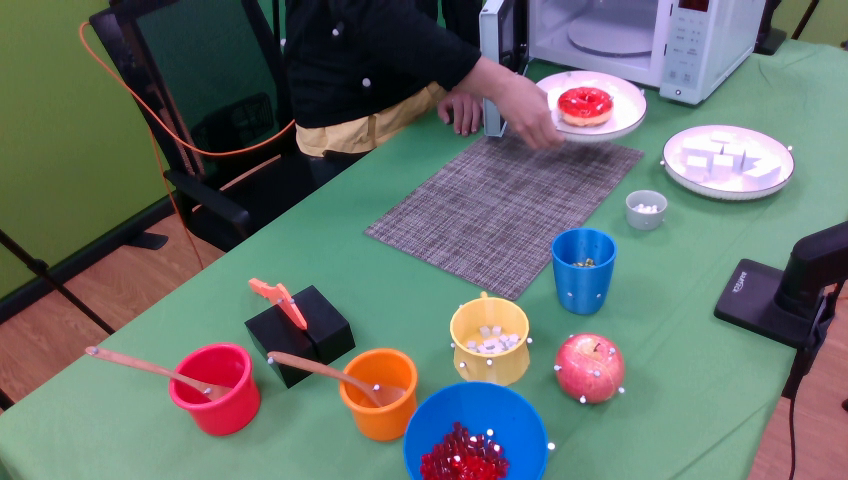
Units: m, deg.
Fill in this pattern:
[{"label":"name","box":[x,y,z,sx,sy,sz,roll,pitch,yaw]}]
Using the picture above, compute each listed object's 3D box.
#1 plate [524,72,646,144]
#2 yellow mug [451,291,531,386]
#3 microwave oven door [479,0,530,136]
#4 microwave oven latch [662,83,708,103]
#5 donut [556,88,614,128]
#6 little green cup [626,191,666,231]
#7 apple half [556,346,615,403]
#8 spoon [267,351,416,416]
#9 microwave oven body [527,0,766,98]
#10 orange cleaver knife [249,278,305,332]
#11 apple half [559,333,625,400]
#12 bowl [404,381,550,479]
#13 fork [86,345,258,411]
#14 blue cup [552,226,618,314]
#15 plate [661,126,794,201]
[{"label":"plate","box":[0.283,-0.229,1.072,0.209,0.038,0.208,-2,44,2]},{"label":"yellow mug","box":[0.086,0.120,0.786,0.100,0.064,0.130,-7,39,2]},{"label":"microwave oven door","box":[0.170,-0.408,1.232,0.039,0.245,0.355,6,42,16]},{"label":"microwave oven latch","box":[0.518,-0.296,1.204,0.078,0.029,0.030,27,52,35]},{"label":"donut","box":[0.282,-0.233,1.060,0.099,0.048,0.098,-2,41,2]},{"label":"little green cup","box":[0.352,-0.046,0.963,0.061,0.039,0.061,-4,40,4]},{"label":"apple half","box":[0.181,0.167,0.709,0.080,0.081,0.033,29,50,35]},{"label":"spoon","box":[-0.091,0.163,0.699,0.021,0.195,0.041,-44,30,27]},{"label":"microwave oven body","box":[0.472,-0.513,1.317,0.438,0.261,0.327,25,51,34]},{"label":"orange cleaver knife","box":[-0.210,0.089,0.855,0.012,0.077,0.210,-28,15,-24]},{"label":"apple half","box":[0.208,0.147,0.730,0.080,0.075,0.053,26,47,38]},{"label":"bowl","box":[0.058,0.235,0.645,0.151,0.077,0.150,-4,39,4]},{"label":"fork","box":[-0.299,0.167,0.728,0.209,0.018,0.028,28,47,-23]},{"label":"blue cup","box":[0.218,0.047,0.825,0.092,0.100,0.092,-6,40,5]},{"label":"plate","box":[0.513,-0.127,1.035,0.207,0.039,0.206,-4,40,4]}]
